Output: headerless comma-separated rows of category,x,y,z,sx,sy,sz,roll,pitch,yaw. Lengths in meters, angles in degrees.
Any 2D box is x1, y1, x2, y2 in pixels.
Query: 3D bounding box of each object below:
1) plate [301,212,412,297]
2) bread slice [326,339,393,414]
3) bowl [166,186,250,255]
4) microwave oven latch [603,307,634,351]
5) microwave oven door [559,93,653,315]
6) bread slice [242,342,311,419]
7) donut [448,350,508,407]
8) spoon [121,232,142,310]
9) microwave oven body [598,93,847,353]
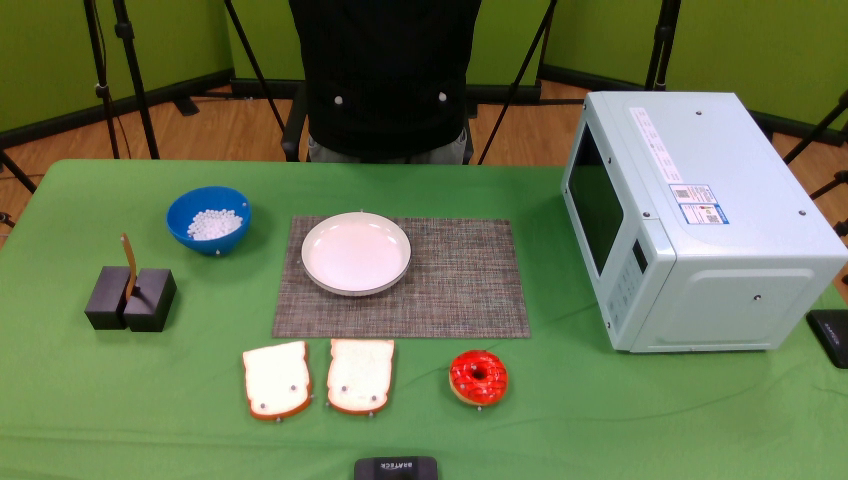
plate,-0.126,0.031,1.145,0.208,0.039,0.206,2,45,-2
bread slice,-0.103,0.219,0.983,0.107,0.018,0.133,0,45,-3
bowl,-0.403,-0.024,1.154,0.151,0.077,0.150,2,46,-2
microwave oven latch,0.332,0.153,1.044,0.030,0.029,0.078,0,45,-3
microwave oven door,0.327,-0.074,1.123,0.039,0.245,0.353,-1,46,-5
bread slice,-0.234,0.223,0.970,0.105,0.019,0.130,-10,47,-13
donut,0.087,0.223,0.977,0.099,0.048,0.098,4,46,-4
spoon,-0.479,0.051,0.994,0.022,0.194,0.041,13,46,-12
microwave oven body,0.475,-0.041,1.110,0.326,0.261,0.438,-1,45,-4
